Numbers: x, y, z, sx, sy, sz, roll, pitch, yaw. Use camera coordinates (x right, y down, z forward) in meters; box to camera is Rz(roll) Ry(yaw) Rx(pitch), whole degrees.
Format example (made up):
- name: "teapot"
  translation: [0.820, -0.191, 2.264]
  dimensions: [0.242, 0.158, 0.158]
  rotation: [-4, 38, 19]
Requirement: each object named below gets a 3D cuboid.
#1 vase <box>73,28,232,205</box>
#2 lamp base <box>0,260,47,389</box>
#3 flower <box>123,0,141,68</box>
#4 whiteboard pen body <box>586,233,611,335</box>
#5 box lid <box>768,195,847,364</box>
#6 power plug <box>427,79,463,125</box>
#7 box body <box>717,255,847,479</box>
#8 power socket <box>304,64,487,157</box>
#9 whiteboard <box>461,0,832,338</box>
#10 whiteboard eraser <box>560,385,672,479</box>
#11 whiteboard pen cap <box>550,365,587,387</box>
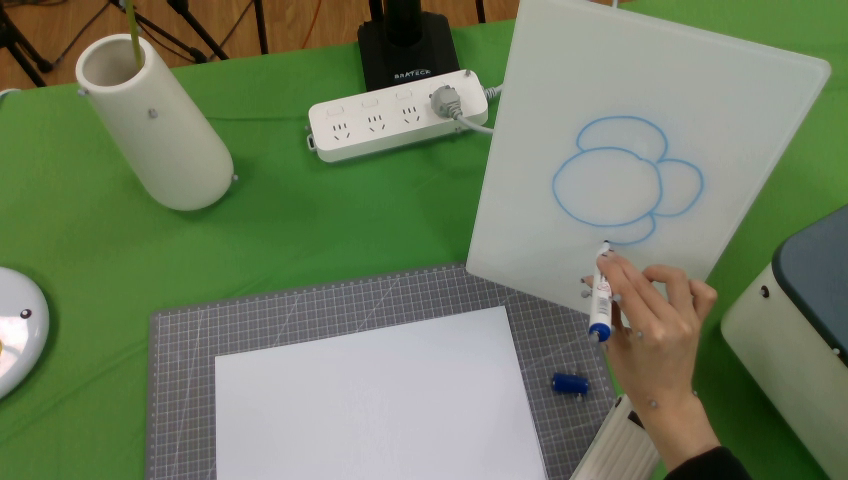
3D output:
- name: "vase"
  translation: [-0.271, -0.118, 0.619]
  dimensions: [0.098, 0.201, 0.097]
  rotation: [-1, 64, 3]
- name: "lamp base"
  translation: [-0.482, 0.054, 0.552]
  dimensions: [0.178, 0.182, 0.160]
  rotation: [21, 66, 14]
- name: "flower"
  translation: [-0.253, -0.150, 0.543]
  dimensions: [0.038, 0.362, 0.044]
  rotation: [38, 61, 0]
- name: "whiteboard pen body"
  translation: [0.144, 0.029, 0.496]
  dimensions: [0.017, 0.017, 0.140]
  rotation: [14, 34, 9]
- name: "box lid"
  translation: [0.462, 0.091, 0.435]
  dimensions: [0.263, 0.015, 0.368]
  rotation: [-26, 67, -10]
- name: "power plug"
  translation: [0.024, -0.151, 0.695]
  dimensions: [0.035, 0.053, 0.072]
  rotation: [-5, 70, -1]
- name: "box body"
  translation: [0.466, 0.127, 0.502]
  dimensions: [0.254, 0.161, 0.361]
  rotation: [-26, 66, -11]
- name: "power socket"
  translation: [-0.033, -0.155, 0.723]
  dimensions: [0.227, 0.033, 0.071]
  rotation: [-14, 66, -6]
- name: "whiteboard"
  translation: [0.180, -0.086, 0.567]
  dimensions: [0.216, 0.308, 0.143]
  rotation: [20, 45, 11]
- name: "whiteboard eraser"
  translation: [0.171, 0.190, 0.543]
  dimensions: [0.055, 0.042, 0.112]
  rotation: [33, 70, 17]
- name: "whiteboard pen cap"
  translation: [0.139, 0.132, 0.586]
  dimensions: [0.033, 0.018, 0.018]
  rotation: [8, 64, 3]
